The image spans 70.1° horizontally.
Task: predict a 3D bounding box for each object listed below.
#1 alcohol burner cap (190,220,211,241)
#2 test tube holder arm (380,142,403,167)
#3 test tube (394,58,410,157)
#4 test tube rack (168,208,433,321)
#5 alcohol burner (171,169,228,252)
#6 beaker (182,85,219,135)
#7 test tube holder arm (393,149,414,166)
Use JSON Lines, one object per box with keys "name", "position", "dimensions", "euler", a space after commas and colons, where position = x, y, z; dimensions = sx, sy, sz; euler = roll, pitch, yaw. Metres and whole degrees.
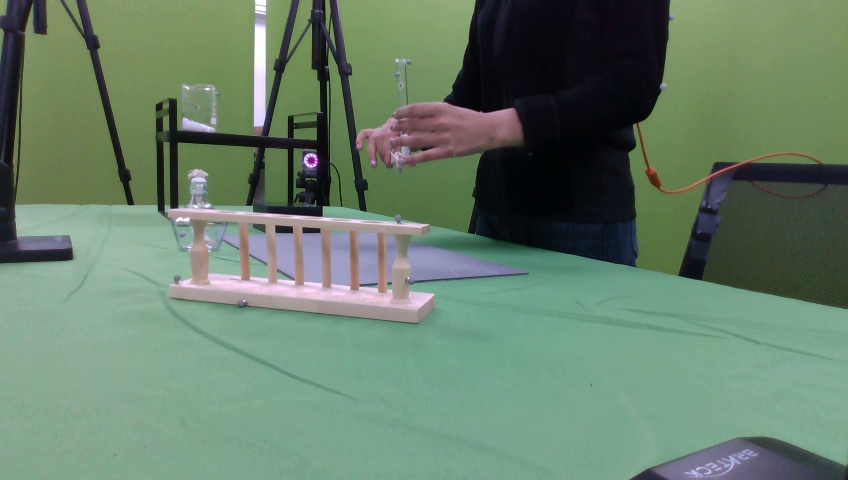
{"name": "alcohol burner cap", "position": [-0.365, -0.023, 0.988], "dimensions": [0.034, 0.048, 0.034], "euler": [2, 7, 0]}
{"name": "test tube holder arm", "position": [-0.056, -0.146, 1.017], "dimensions": [0.013, 0.015, 0.178], "euler": [-3, 18, -14]}
{"name": "test tube", "position": [-0.034, -0.199, 0.918], "dimensions": [0.017, 0.150, 0.017], "euler": [-2, 24, 1]}
{"name": "test tube rack", "position": [-0.115, 0.018, 0.574], "dimensions": [0.242, 0.085, 0.067], "euler": [4, 8, 14]}
{"name": "alcohol burner", "position": [-0.325, -0.042, 0.875], "dimensions": [0.078, 0.119, 0.078], "euler": [1, 6, 0]}
{"name": "beaker", "position": [-0.479, -0.276, 1.291], "dimensions": [0.074, 0.100, 0.084], "euler": [2, 8, -1]}
{"name": "test tube holder arm", "position": [-0.037, -0.134, 0.979], "dimensions": [0.010, 0.015, 0.087], "euler": [-7, 19, -24]}
